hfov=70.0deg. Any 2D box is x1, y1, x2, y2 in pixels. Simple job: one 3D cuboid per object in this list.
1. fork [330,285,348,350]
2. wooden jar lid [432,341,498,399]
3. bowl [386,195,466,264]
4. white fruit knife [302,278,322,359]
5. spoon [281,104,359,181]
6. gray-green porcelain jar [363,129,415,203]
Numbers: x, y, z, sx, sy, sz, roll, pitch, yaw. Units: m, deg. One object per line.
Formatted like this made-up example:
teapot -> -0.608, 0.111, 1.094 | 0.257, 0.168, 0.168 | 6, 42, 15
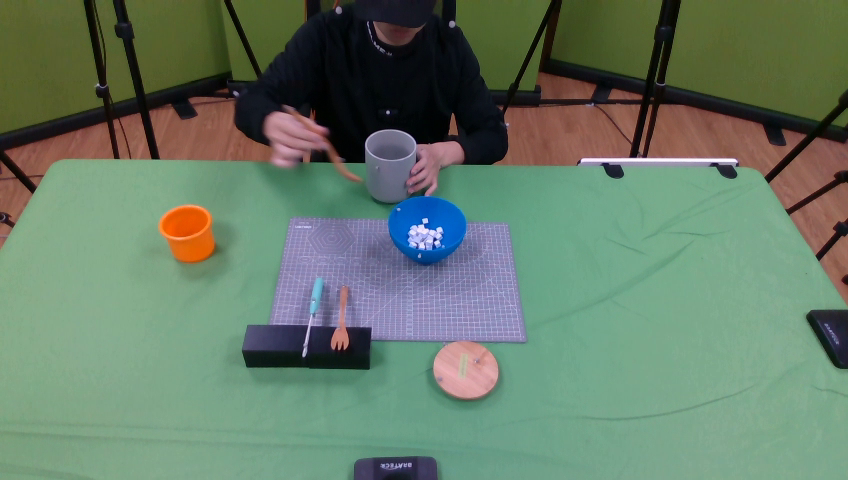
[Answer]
fork -> -0.140, 0.127, 1.021 | 0.028, 0.019, 0.206 | -4, 28, -3
wooden jar lid -> 0.067, 0.216, 0.997 | 0.108, 0.021, 0.107 | 1, 46, -1
bowl -> 0.003, -0.007, 1.162 | 0.151, 0.077, 0.150 | 2, 46, -2
white fruit knife -> -0.189, 0.126, 1.020 | 0.016, 0.027, 0.206 | 0, 33, -2
spoon -> -0.175, -0.163, 1.032 | 0.021, 0.195, 0.041 | -42, 38, -4
gray-green porcelain jar -> -0.073, -0.150, 1.264 | 0.106, 0.127, 0.105 | 2, 46, -2
